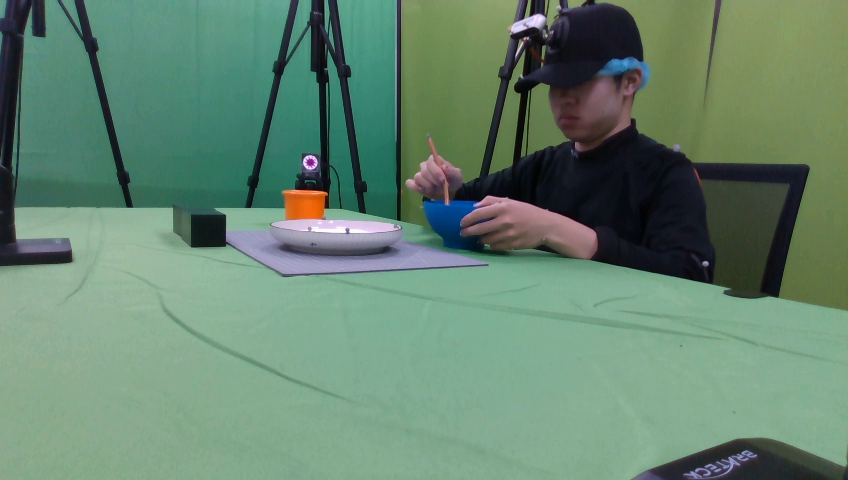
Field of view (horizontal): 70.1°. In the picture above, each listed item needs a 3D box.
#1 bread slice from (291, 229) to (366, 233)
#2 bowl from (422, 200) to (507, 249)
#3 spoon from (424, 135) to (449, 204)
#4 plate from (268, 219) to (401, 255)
[{"bbox_3d":[-0.143,-0.003,0.953,0.135,0.018,0.106,-1,8,-37],"label":"bread slice"},{"bbox_3d":[0.070,-0.028,1.065,0.151,0.077,0.151,2,7,0],"label":"bowl"},{"bbox_3d":[0.033,-0.097,1.077,0.021,0.193,0.042,-16,-7,15],"label":"spoon"},{"bbox_3d":[-0.140,-0.006,0.958,0.209,0.038,0.209,3,7,0],"label":"plate"}]
